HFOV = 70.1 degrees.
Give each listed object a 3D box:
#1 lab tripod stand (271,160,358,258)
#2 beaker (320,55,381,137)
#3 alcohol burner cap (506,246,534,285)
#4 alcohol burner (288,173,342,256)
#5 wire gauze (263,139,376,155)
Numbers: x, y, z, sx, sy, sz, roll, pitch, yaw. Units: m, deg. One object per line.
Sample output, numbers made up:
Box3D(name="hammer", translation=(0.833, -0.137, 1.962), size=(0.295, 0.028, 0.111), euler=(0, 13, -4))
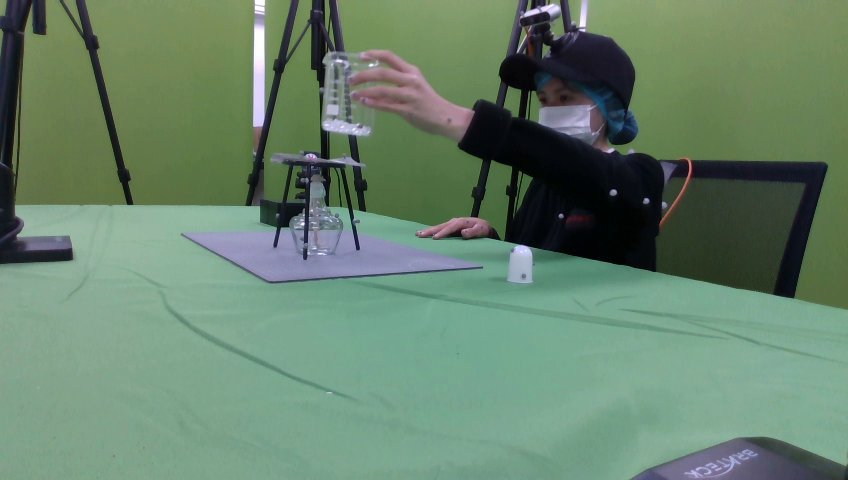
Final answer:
Box3D(name="lab tripod stand", translation=(-0.159, -0.048, 0.876), size=(0.148, 0.131, 0.148), euler=(3, 5, 0))
Box3D(name="beaker", translation=(-0.105, -0.193, 0.820), size=(0.084, 0.100, 0.074), euler=(9, 7, 17))
Box3D(name="alcohol burner cap", translation=(0.119, 0.032, 0.740), size=(0.034, 0.048, 0.034), euler=(1, 7, 0))
Box3D(name="alcohol burner", translation=(-0.157, -0.037, 0.871), size=(0.078, 0.119, 0.078), euler=(1, 6, 0))
Box3D(name="wire gauze", translation=(-0.151, -0.130, 0.869), size=(0.122, 0.011, 0.124), euler=(-8, 5, -35))
